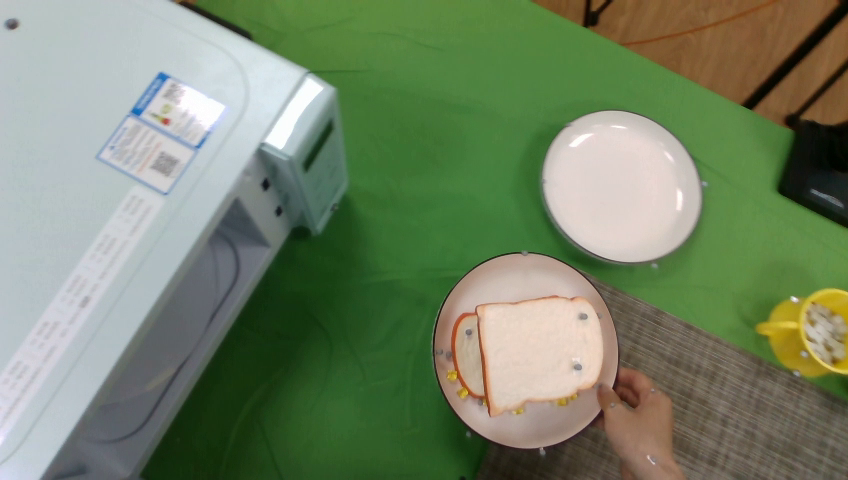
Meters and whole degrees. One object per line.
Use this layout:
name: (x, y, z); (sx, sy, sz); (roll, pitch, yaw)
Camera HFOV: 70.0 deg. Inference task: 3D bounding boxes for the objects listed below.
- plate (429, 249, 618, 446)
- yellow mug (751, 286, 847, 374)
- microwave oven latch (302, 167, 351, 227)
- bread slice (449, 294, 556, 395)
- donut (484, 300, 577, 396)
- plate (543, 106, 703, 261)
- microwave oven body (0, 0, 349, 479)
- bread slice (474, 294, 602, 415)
plate: (0.106, 0.114, 0.660); (0.209, 0.038, 0.208); (1, 81, -8)
yellow mug: (0.470, 0.110, 0.742); (0.131, 0.064, 0.099); (6, 74, -2)
microwave oven latch: (-0.117, -0.056, 0.725); (0.030, 0.029, 0.079); (31, 76, 3)
bread slice: (0.094, 0.118, 0.660); (0.132, 0.019, 0.104); (-7, 82, -12)
donut: (0.111, 0.111, 0.632); (0.099, 0.048, 0.098); (2, 81, -9)
plate: (0.252, -0.071, 0.784); (0.208, 0.039, 0.206); (1, 75, -5)
microwave oven body: (-0.323, -0.002, 0.592); (0.326, 0.261, 0.440); (28, 75, 2)
bread slice: (0.114, 0.104, 0.603); (0.135, 0.018, 0.107); (-10, 92, -18)
